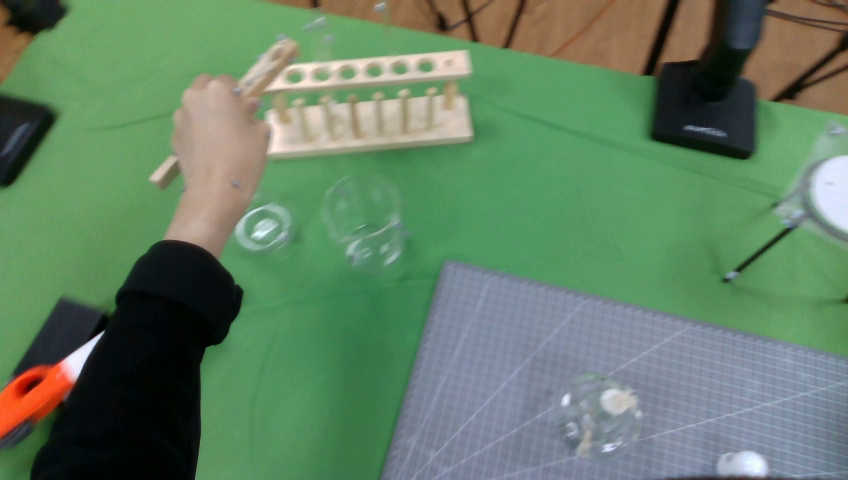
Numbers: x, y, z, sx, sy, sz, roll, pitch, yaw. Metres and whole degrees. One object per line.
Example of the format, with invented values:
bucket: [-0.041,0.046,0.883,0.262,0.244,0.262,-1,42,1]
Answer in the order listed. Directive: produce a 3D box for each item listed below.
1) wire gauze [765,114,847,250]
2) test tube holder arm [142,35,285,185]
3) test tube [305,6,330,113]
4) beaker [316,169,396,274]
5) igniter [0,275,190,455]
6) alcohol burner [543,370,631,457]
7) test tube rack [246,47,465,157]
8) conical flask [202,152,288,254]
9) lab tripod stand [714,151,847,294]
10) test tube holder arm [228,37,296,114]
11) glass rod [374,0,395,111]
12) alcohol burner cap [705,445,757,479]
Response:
wire gauze: [0.387,-0.043,0.538,0.121,0.011,0.125,34,70,14]
test tube holder arm: [-0.175,-0.115,0.522,0.013,0.015,0.178,30,68,16]
test tube: [-0.115,-0.191,0.663,0.017,0.151,0.017,2,61,-3]
beaker: [-0.068,-0.012,0.623,0.073,0.101,0.083,27,68,14]
igniter: [-0.337,0.129,0.543,0.276,0.025,0.056,-40,60,-17]
alcohol burner: [0.146,0.148,0.531,0.078,0.120,0.077,1,63,-1]
test tube rack: [-0.075,-0.158,0.701,0.242,0.086,0.066,-6,64,-2]
conical flask: [-0.190,-0.042,0.625,0.075,0.123,0.074,0,63,1]
lab tripod stand: [0.380,-0.013,0.599,0.148,0.132,0.147,1,63,-1]
test tube holder arm: [-0.145,-0.146,0.537,0.010,0.015,0.087,31,68,16]
glass rod: [-0.044,-0.213,0.654,0.008,0.201,0.008,-3,56,4]
alcohol burner cap: [0.278,0.199,0.544,0.034,0.048,0.033,0,65,0]
